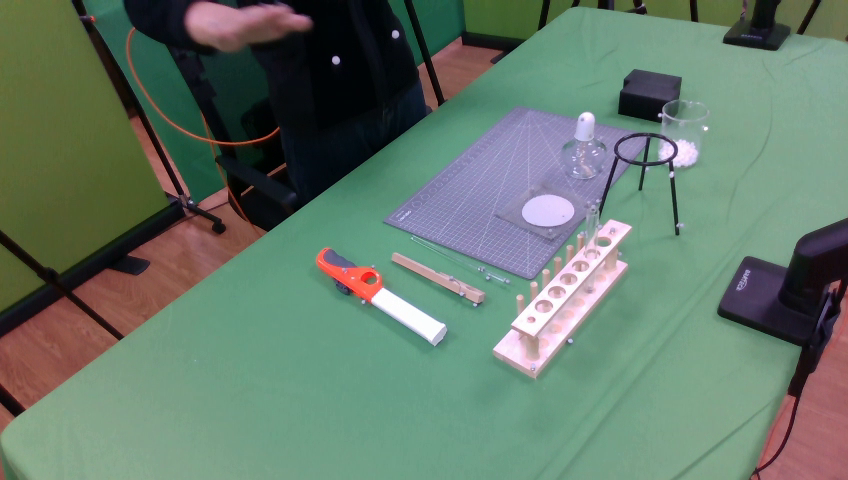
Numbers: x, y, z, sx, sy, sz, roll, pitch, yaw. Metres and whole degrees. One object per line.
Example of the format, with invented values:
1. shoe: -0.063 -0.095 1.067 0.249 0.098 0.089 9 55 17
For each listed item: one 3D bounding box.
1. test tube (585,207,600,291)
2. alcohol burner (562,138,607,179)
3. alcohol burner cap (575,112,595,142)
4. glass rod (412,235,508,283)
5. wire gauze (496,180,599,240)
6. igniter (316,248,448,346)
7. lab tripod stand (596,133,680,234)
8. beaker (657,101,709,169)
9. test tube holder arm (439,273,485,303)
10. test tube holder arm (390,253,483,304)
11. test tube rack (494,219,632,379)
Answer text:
1. test tube: 0.222 0.016 0.797 0.017 0.151 0.017 -6 44 7
2. alcohol burner: 0.280 -0.167 1.052 0.078 0.119 0.077 -5 39 4
3. alcohol burner cap: 0.276 -0.194 1.028 0.034 0.048 0.033 -2 45 3
4. glass rod: 0.051 0.028 0.951 0.198 0.008 0.008 25 51 37
5. wire gauze: 0.206 -0.050 1.012 0.125 0.011 0.120 -34 45 -26
6. igniter: -0.074 0.078 0.902 0.274 0.025 0.057 28 63 36
7. lab tripod stand: 0.338 -0.091 0.940 0.148 0.132 0.147 -7 39 6
8. beaker: 0.449 -0.183 1.054 0.073 0.101 0.084 15 46 27
9. test tube holder arm: 0.053 0.070 0.896 0.087 0.015 0.010 24 16 34
10. test tube holder arm: 0.015 0.056 0.916 0.177 0.015 0.013 24 15 33
11. test tube rack: 0.191 0.068 0.818 0.066 0.085 0.243 25 51 35
